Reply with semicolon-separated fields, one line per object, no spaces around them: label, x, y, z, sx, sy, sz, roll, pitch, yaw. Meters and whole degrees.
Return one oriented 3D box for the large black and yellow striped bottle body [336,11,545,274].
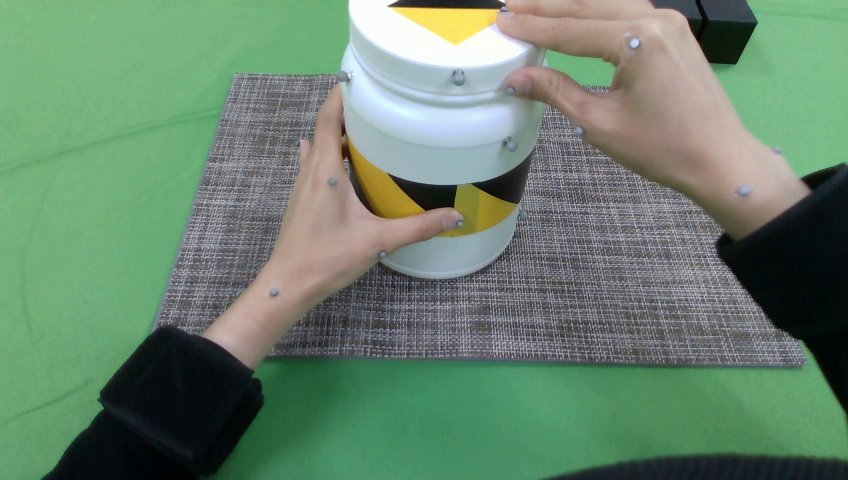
large black and yellow striped bottle body;0.009;-0.078;0.411;0.131;0.185;0.129;2;53;-2

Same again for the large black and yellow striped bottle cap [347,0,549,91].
large black and yellow striped bottle cap;0.014;-0.129;0.344;0.115;0.019;0.114;1;55;-1
